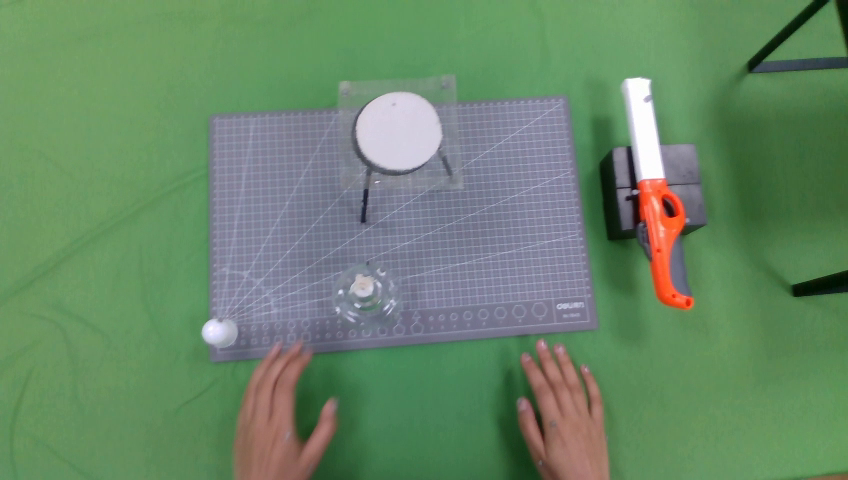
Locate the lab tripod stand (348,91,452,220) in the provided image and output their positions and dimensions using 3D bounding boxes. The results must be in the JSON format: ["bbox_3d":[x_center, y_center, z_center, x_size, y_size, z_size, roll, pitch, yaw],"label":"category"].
[{"bbox_3d":[-0.038,-0.099,0.679,0.148,0.132,0.147,0,77,-1],"label":"lab tripod stand"}]

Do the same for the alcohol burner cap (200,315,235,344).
[{"bbox_3d":[-0.232,0.097,0.672,0.034,0.048,0.033,1,76,-3],"label":"alcohol burner cap"}]

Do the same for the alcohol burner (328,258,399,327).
[{"bbox_3d":[-0.066,0.055,0.655,0.078,0.119,0.077,0,78,-1],"label":"alcohol burner"}]

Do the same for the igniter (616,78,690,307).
[{"bbox_3d":[0.260,-0.059,0.696,0.057,0.025,0.275,-4,75,-7],"label":"igniter"}]

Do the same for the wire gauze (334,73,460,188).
[{"bbox_3d":[-0.028,-0.110,0.613,0.125,0.011,0.121,-2,78,-3],"label":"wire gauze"}]
